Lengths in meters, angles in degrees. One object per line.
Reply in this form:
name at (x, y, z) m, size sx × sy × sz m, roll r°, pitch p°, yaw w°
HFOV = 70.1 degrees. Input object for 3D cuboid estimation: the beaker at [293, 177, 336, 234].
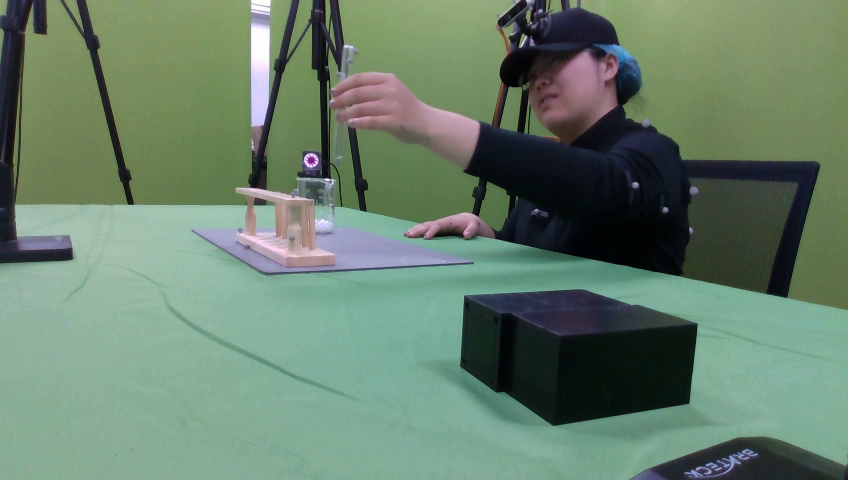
beaker at (-0.198, -0.063, 1.107) m, size 0.083 × 0.100 × 0.074 m, roll 10°, pitch 11°, yaw 40°

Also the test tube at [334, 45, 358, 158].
test tube at (-0.106, -0.185, 0.812) m, size 0.017 × 0.150 × 0.017 m, roll 8°, pitch 9°, yaw -1°

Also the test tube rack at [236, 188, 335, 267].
test tube rack at (-0.202, -0.024, 0.855) m, size 0.067 × 0.085 × 0.241 m, roll -2°, pitch 8°, yaw -31°
